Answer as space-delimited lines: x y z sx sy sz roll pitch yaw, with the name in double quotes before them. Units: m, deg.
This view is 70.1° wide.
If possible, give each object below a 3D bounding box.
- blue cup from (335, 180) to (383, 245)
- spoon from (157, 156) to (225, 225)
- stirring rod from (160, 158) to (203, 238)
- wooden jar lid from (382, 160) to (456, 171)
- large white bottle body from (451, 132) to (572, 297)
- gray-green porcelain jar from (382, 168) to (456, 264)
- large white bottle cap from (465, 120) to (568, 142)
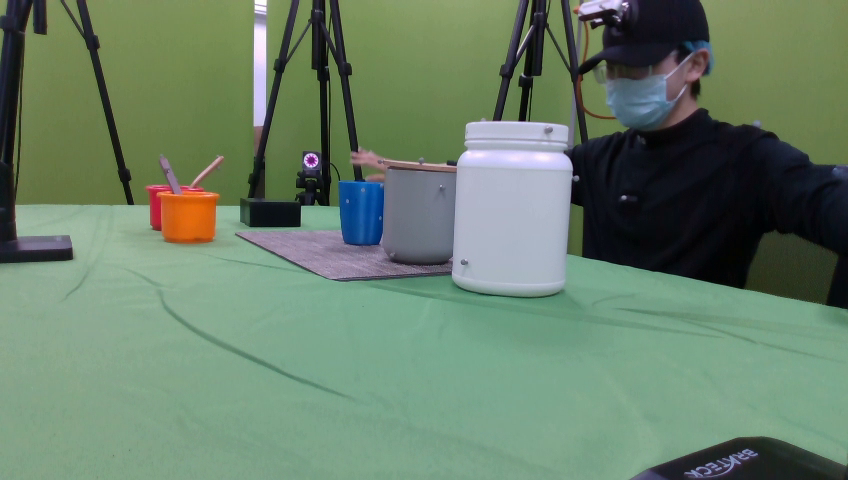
"blue cup" -0.100 -0.046 0.987 0.093 0.100 0.092 2 8 0
"spoon" -0.425 -0.094 1.117 0.041 0.022 0.194 4 51 30
"stirring rod" -0.391 -0.070 0.972 0.014 0.006 0.175 -1 49 -49
"wooden jar lid" -0.003 -0.096 0.826 0.108 0.020 0.108 5 10 0
"large white bottle body" 0.099 -0.037 0.688 0.131 0.184 0.130 2 7 0
"gray-green porcelain jar" -0.005 -0.034 0.834 0.106 0.126 0.106 3 7 0
"large white bottle cap" 0.103 -0.120 0.677 0.115 0.018 0.115 3 7 0
